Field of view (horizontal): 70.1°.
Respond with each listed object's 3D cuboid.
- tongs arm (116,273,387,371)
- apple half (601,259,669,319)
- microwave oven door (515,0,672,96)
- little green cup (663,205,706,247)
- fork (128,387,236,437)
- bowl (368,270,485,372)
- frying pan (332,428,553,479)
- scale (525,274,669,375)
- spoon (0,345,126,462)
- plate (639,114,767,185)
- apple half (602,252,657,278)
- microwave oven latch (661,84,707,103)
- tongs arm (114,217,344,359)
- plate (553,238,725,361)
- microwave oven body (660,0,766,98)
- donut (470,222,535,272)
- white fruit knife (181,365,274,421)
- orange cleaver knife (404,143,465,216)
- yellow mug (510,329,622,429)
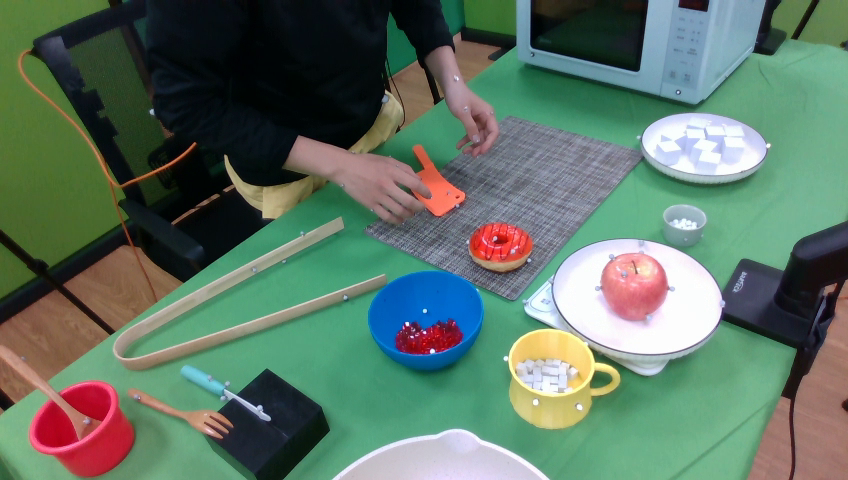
[{"bbox_3d":[-0.237,0.115,0.870,0.389,0.028,0.028,-18,49,-13],"label":"tongs arm"},{"bbox_3d":[0.267,0.068,0.756,0.081,0.075,0.053,-6,43,-2],"label":"apple half"},{"bbox_3d":[0.343,-0.455,1.259,0.353,0.245,0.039,26,51,33],"label":"microwave oven door"},{"bbox_3d":[0.396,-0.020,0.926,0.061,0.039,0.061,-4,40,4],"label":"little green cup"},{"bbox_3d":[-0.305,0.207,0.744,0.206,0.019,0.028,3,41,36],"label":"fork"},{"bbox_3d":[0.007,0.118,0.791,0.151,0.077,0.150,-5,40,4],"label":"bowl"},{"bbox_3d":[-0.089,0.306,0.564,0.487,0.103,0.306,10,41,7],"label":"frying pan"},{"bbox_3d":[0.254,0.091,0.821,0.199,0.032,0.149,28,51,35],"label":"scale"},{"bbox_3d":[-0.434,0.192,0.720,0.194,0.021,0.042,47,53,-6],"label":"spoon"},{"bbox_3d":[0.489,-0.157,1.074,0.207,0.039,0.206,-4,40,4],"label":"plate"},{"bbox_3d":[0.263,0.042,0.784,0.081,0.081,0.032,-9,43,-1],"label":"apple half"},{"bbox_3d":[0.516,-0.296,1.204,0.078,0.029,0.030,25,50,33],"label":"microwave oven latch"},{"bbox_3d":[-0.280,0.068,0.927,0.386,0.026,0.050,-29,49,-23],"label":"tongs arm"},{"bbox_3d":[0.273,0.078,0.783,0.209,0.038,0.208,-4,41,4],"label":"plate"},{"bbox_3d":[0.472,-0.513,1.317,0.438,0.261,0.327,26,51,34],"label":"microwave oven body"},{"bbox_3d":[0.119,0.009,0.923,0.099,0.048,0.098,-4,39,3],"label":"donut"},{"bbox_3d":[-0.245,0.187,0.747,0.205,0.027,0.016,9,41,41],"label":"white fruit knife"},{"bbox_3d":[0.005,-0.113,1.103,0.077,0.012,0.209,-24,45,-9],"label":"orange cleaver knife"},{"bbox_3d":[0.168,0.164,0.721,0.130,0.064,0.099,0,40,8],"label":"yellow mug"}]
